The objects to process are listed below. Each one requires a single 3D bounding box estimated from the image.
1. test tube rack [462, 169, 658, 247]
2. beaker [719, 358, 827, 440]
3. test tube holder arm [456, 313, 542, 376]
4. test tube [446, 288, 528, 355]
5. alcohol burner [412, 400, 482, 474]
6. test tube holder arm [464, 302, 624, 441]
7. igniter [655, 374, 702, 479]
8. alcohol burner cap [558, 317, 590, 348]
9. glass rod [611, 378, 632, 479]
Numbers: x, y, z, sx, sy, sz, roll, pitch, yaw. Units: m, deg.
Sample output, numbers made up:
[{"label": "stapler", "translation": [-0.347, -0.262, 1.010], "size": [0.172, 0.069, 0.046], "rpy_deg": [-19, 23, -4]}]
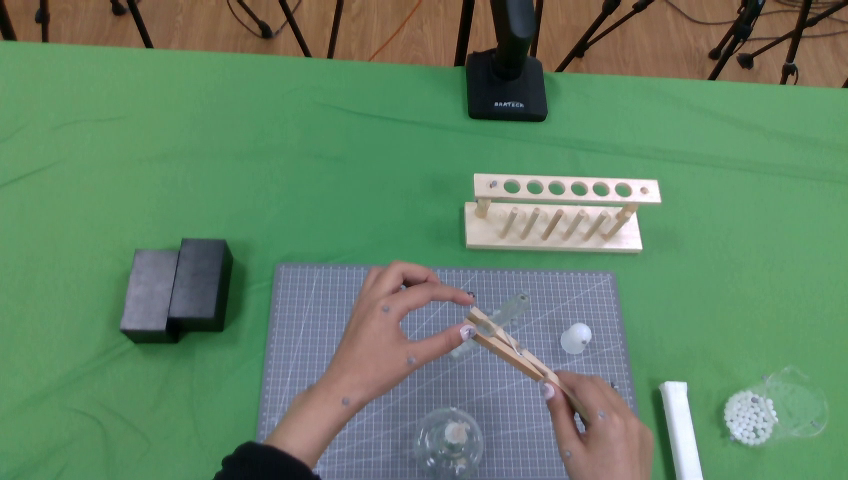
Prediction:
[{"label": "test tube rack", "translation": [0.178, -0.040, 0.805], "size": [0.243, 0.086, 0.066], "rpy_deg": [1, 64, -5]}, {"label": "beaker", "translation": [0.403, 0.190, 0.711], "size": [0.074, 0.101, 0.083], "rpy_deg": [14, 63, 1]}, {"label": "test tube holder arm", "translation": [0.069, 0.095, 0.549], "size": [0.088, 0.015, 0.010], "rpy_deg": [32, 58, 2]}, {"label": "test tube", "translation": [0.053, 0.078, 0.552], "size": [0.017, 0.150, 0.017], "rpy_deg": [10, 61, -17]}, {"label": "alcohol burner", "translation": [0.027, 0.208, 0.650], "size": [0.078, 0.120, 0.077], "rpy_deg": [2, 62, -4]}, {"label": "test tube holder arm", "translation": [0.108, 0.118, 0.548], "size": [0.178, 0.015, 0.013], "rpy_deg": [39, 59, 6]}, {"label": "igniter", "translation": [0.303, 0.292, 0.691], "size": [0.057, 0.025, 0.274], "rpy_deg": [6, 64, -15]}, {"label": "alcohol burner cap", "translation": [0.189, 0.113, 0.753], "size": [0.034, 0.048, 0.033], "rpy_deg": [3, 64, -5]}, {"label": "glass rod", "translation": [0.236, 0.260, 0.706], "size": [0.008, 0.008, 0.198], "rpy_deg": [1, 64, -6]}]
